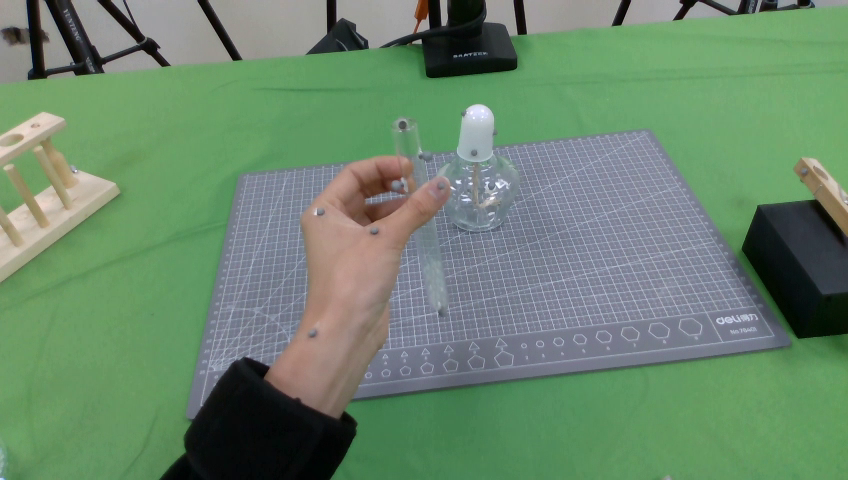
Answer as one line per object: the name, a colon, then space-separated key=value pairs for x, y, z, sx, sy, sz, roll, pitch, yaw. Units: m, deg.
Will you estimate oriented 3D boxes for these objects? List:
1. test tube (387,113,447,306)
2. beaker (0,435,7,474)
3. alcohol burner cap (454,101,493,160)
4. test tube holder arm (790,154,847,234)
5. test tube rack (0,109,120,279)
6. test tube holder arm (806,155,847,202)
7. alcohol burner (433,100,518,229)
test tube: x=-0.002 y=-0.012 z=0.392 sx=0.017 sy=0.152 sz=0.017 roll=-7 pitch=39 yaw=6
beaker: x=-0.327 y=0.129 z=0.381 sx=0.084 sy=0.101 sz=0.073 roll=-24 pitch=46 yaw=-18
alcohol burner cap: x=0.044 y=-0.095 z=0.517 sx=0.034 sy=0.048 sz=0.033 roll=1 pitch=43 yaw=-1
test tube holder arm: x=0.321 y=-0.038 z=0.486 sx=0.010 sy=0.015 sz=0.087 roll=1 pitch=44 yaw=-6
test tube rack: x=-0.411 y=-0.017 z=0.552 sx=0.066 sy=0.086 sz=0.241 roll=18 pitch=48 yaw=22
test tube holder arm: x=0.330 y=-0.007 z=0.454 sx=0.013 sy=0.015 sz=0.176 roll=0 pitch=44 yaw=-6
alcohol burner: x=0.046 y=-0.070 z=0.542 sx=0.078 sy=0.120 sz=0.077 roll=-3 pitch=42 yaw=3
